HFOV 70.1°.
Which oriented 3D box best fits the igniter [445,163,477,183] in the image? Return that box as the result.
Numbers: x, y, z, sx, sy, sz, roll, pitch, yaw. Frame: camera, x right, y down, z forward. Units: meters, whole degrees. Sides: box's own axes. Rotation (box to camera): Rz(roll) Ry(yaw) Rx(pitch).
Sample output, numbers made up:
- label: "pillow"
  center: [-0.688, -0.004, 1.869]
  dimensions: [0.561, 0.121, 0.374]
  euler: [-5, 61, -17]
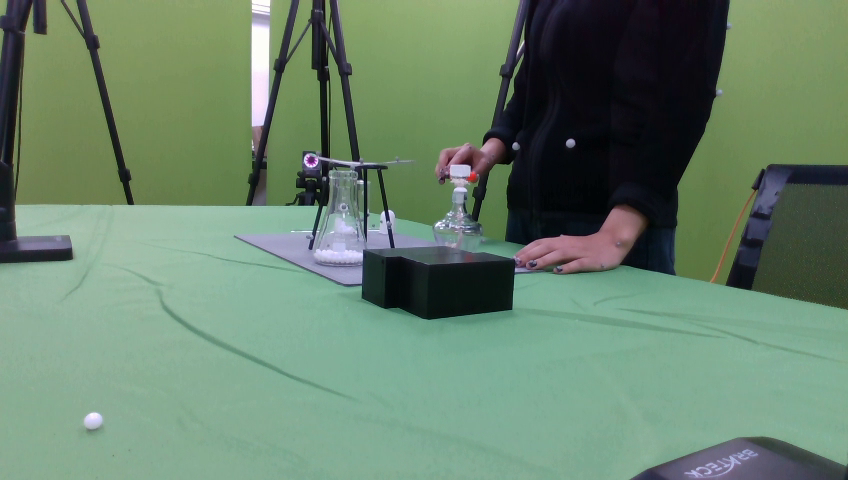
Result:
- label: "igniter"
  center: [0.064, -0.115, 1.042]
  dimensions: [0.057, 0.025, 0.276]
  euler: [3, 4, 3]

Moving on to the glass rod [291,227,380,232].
- label: "glass rod"
  center: [-0.161, -0.022, 1.177]
  dimensions: [0.201, 0.008, 0.008]
  euler: [-2, 8, -29]

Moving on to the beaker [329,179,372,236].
- label: "beaker"
  center: [-0.137, -0.061, 1.101]
  dimensions: [0.084, 0.100, 0.074]
  euler: [4, 7, 20]

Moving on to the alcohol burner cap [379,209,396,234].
- label: "alcohol burner cap"
  center: [-0.069, -0.036, 1.154]
  dimensions: [0.034, 0.048, 0.034]
  euler: [2, 7, 0]

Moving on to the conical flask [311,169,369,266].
- label: "conical flask"
  center: [-0.107, -0.031, 0.786]
  dimensions: [0.075, 0.122, 0.075]
  euler: [2, 8, 0]

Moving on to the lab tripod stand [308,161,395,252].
- label: "lab tripod stand"
  center: [-0.098, -0.053, 0.919]
  dimensions: [0.148, 0.131, 0.148]
  euler: [4, 7, 0]

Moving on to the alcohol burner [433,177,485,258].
- label: "alcohol burner"
  center: [0.052, -0.033, 0.894]
  dimensions: [0.078, 0.119, 0.078]
  euler: [2, 9, 0]

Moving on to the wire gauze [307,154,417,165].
- label: "wire gauze"
  center: [-0.094, -0.120, 0.913]
  dimensions: [0.122, 0.011, 0.124]
  euler: [-5, 11, -45]
